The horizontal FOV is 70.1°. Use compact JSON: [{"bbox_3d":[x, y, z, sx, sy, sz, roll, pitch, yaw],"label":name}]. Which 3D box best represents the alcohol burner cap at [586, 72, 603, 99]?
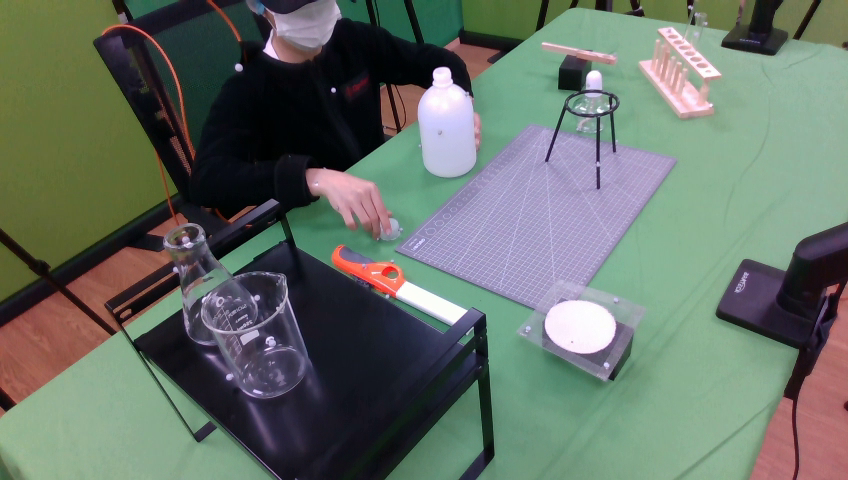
[{"bbox_3d":[0.325,-0.297,1.154,0.034,0.048,0.033,-8,35,6],"label":"alcohol burner cap"}]

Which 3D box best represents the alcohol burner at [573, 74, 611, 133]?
[{"bbox_3d":[0.330,-0.270,1.177,0.078,0.119,0.077,-4,43,5],"label":"alcohol burner"}]

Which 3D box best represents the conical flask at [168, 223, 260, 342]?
[{"bbox_3d":[-0.219,0.040,0.614,0.075,0.122,0.075,-5,40,4],"label":"conical flask"}]

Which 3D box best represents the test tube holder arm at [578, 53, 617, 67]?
[{"bbox_3d":[0.376,-0.393,1.314,0.087,0.015,0.010,26,51,32],"label":"test tube holder arm"}]

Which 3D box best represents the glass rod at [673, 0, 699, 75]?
[{"bbox_3d":[0.541,-0.427,1.246,0.008,0.200,0.008,0,48,1],"label":"glass rod"}]

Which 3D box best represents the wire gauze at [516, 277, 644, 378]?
[{"bbox_3d":[0.197,0.103,0.765,0.124,0.011,0.122,23,50,32],"label":"wire gauze"}]

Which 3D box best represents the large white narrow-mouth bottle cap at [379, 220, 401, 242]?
[{"bbox_3d":[-0.057,-0.015,1.012,0.038,0.024,0.037,-4,40,4],"label":"large white narrow-mouth bottle cap"}]

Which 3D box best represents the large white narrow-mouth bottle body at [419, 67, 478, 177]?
[{"bbox_3d":[0.043,-0.217,1.099,0.102,0.195,0.101,-4,40,4],"label":"large white narrow-mouth bottle body"}]

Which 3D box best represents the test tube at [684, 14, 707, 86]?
[{"bbox_3d":[0.541,-0.379,1.216,0.017,0.151,0.017,-2,44,2],"label":"test tube"}]

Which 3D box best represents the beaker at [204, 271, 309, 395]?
[{"bbox_3d":[-0.149,0.088,0.565,0.073,0.101,0.084,20,47,29],"label":"beaker"}]

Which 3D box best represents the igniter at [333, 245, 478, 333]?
[{"bbox_3d":[-0.038,0.068,0.905,0.274,0.025,0.057,24,59,32],"label":"igniter"}]

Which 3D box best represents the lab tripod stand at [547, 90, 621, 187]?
[{"bbox_3d":[0.289,-0.184,1.062,0.148,0.132,0.147,-6,41,6],"label":"lab tripod stand"}]

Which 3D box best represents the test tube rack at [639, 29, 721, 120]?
[{"bbox_3d":[0.527,-0.351,1.262,0.067,0.085,0.241,-8,40,1],"label":"test tube rack"}]

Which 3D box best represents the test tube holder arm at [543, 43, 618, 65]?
[{"bbox_3d":[0.345,-0.413,1.340,0.177,0.015,0.013,25,50,31],"label":"test tube holder arm"}]
